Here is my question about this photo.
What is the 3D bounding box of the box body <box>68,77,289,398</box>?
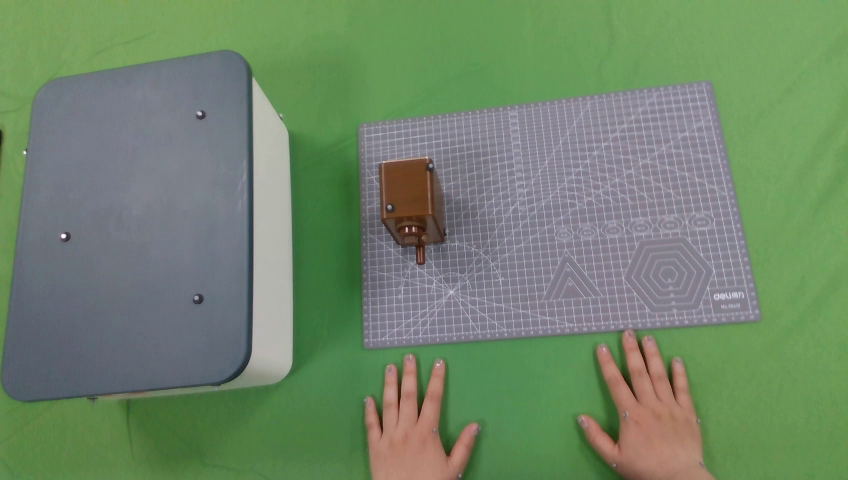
[{"bbox_3d":[-0.300,-0.005,0.707,0.254,0.161,0.361,-7,73,6],"label":"box body"}]

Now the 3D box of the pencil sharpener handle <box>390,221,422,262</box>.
[{"bbox_3d":[-0.015,0.003,0.677,0.036,0.068,0.030,-8,73,15],"label":"pencil sharpener handle"}]

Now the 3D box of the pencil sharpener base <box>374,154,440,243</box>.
[{"bbox_3d":[-0.018,-0.042,0.704,0.061,0.108,0.076,-5,73,6],"label":"pencil sharpener base"}]

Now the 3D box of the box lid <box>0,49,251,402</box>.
[{"bbox_3d":[-0.310,-0.028,0.638,0.263,0.015,0.369,-7,73,5],"label":"box lid"}]
